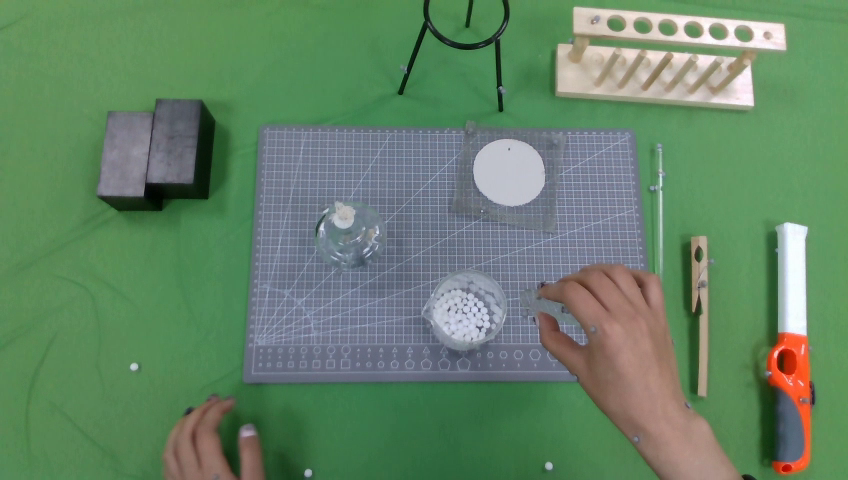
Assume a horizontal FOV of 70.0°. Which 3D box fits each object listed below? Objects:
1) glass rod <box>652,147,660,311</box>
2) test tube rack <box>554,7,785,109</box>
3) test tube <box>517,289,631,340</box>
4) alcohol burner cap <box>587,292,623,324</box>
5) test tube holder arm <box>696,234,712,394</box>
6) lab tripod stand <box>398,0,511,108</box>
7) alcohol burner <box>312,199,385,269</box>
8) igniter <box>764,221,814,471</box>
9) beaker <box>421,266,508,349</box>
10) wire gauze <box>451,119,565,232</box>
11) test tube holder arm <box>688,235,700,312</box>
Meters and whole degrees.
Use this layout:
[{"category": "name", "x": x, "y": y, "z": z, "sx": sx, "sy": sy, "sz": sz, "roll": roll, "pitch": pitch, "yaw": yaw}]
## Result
[{"category": "glass rod", "x": 0.271, "y": -0.015, "z": 0.707, "sx": 0.008, "sy": 0.008, "sz": 0.199, "roll": 6, "pitch": 78, "yaw": -1}, {"category": "test tube rack", "x": 0.285, "y": -0.213, "z": 0.719, "sx": 0.242, "sy": 0.085, "sz": 0.066, "roll": 4, "pitch": 75, "yaw": -1}, {"category": "test tube", "x": 0.137, "y": 0.067, "z": 0.533, "sx": 0.151, "sy": 0.017, "sz": 0.017, "roll": 21, "pitch": 71, "yaw": -36}, {"category": "alcohol burner cap", "x": 0.200, "y": 0.072, "z": 0.662, "sx": 0.034, "sy": 0.048, "sz": 0.033, "roll": 1, "pitch": 75, "yaw": -2}, {"category": "test tube holder arm", "x": 0.312, "y": 0.081, "z": 0.678, "sx": 0.013, "sy": 0.015, "sz": 0.177, "roll": -7, "pitch": 73, "yaw": 34}, {"category": "lab tripod stand", "x": 0.039, "y": -0.220, "z": 0.685, "sx": 0.148, "sy": 0.132, "sz": 0.147, "roll": 1, "pitch": 77, "yaw": -2}, {"category": "alcohol burner", "x": -0.081, "y": -0.011, "z": 0.634, "sx": 0.078, "sy": 0.119, "sz": 0.077, "roll": 0, "pitch": 74, "yaw": 0}, {"category": "igniter", "x": 0.405, "y": 0.113, "z": 0.672, "sx": 0.057, "sy": 0.025, "sz": 0.275, "roll": 11, "pitch": 75, "yaw": -10}, {"category": "beaker", "x": 0.038, "y": 0.075, "z": 0.625, "sx": 0.084, "sy": 0.100, "sz": 0.073, "roll": -7, "pitch": 75, "yaw": -3}, {"category": "wire gauze", "x": 0.100, "y": -0.079, "z": 0.714, "sx": 0.125, "sy": 0.011, "sz": 0.121, "roll": 11, "pitch": 77, "yaw": 0}, {"category": "test tube holder arm", "x": 0.310, "y": 0.038, "z": 0.692, "sx": 0.010, "sy": 0.015, "sz": 0.087, "roll": -6, "pitch": 73, "yaw": 34}]
